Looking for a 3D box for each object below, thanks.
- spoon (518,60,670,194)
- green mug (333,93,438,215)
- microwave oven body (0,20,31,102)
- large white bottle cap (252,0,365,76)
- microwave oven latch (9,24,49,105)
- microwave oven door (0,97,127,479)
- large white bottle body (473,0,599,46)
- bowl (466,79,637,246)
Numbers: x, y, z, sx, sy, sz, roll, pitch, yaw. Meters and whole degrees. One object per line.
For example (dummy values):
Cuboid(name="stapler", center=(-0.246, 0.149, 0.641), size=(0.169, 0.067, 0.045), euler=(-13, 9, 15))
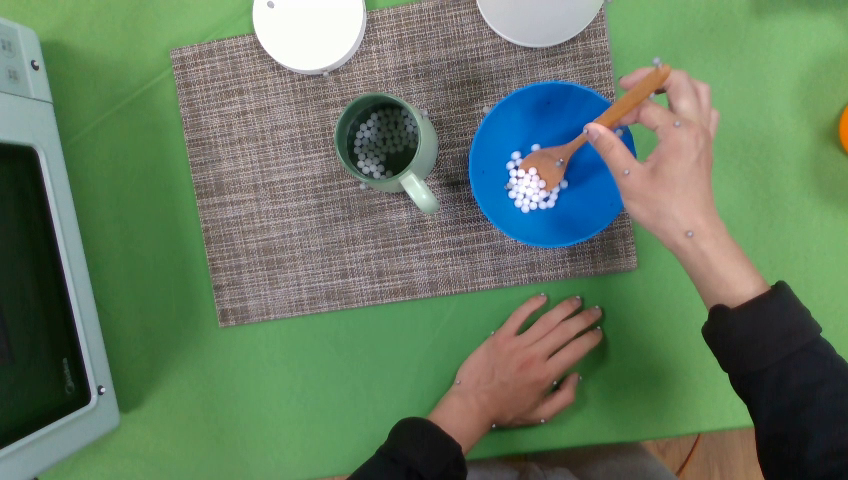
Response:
Cuboid(name="spoon", center=(0.140, -0.091, 0.523), size=(0.021, 0.194, 0.041), euler=(-40, 89, -30))
Cuboid(name="green mug", center=(-0.027, -0.078, 0.581), size=(0.092, 0.105, 0.125), euler=(-36, 90, 6))
Cuboid(name="microwave oven body", center=(-0.538, 0.028, 0.558), size=(0.326, 0.260, 0.442), euler=(-11, 94, 5))
Cuboid(name="large white bottle cap", center=(-0.118, -0.227, 0.620), size=(0.115, 0.018, 0.115), euler=(0, 94, 5))
Cuboid(name="microwave oven latch", center=(-0.416, -0.179, 0.627), size=(0.030, 0.029, 0.079), euler=(-10, 94, 5))
Cuboid(name="microwave oven door", center=(-0.387, 0.043, 0.541), size=(0.039, 0.243, 0.356), euler=(-11, 93, 6))
Cuboid(name="large white bottle body", center=(0.101, -0.256, 0.514), size=(0.130, 0.185, 0.130), euler=(0, 90, 6))
Cuboid(name="bowl", center=(0.117, -0.071, 0.581), size=(0.151, 0.077, 0.151), euler=(0, 95, 6))
